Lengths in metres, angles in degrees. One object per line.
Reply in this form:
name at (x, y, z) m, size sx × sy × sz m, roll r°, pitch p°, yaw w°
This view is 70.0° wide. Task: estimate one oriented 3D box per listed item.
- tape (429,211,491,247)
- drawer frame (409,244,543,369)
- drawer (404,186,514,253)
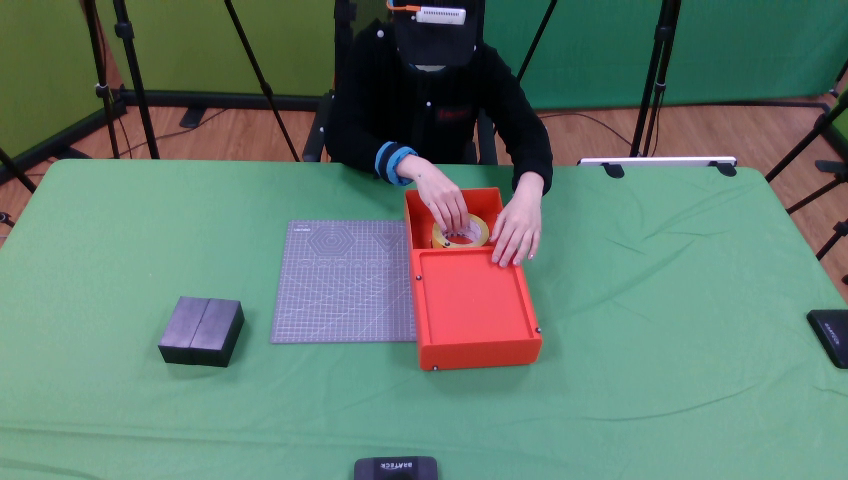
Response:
tape at (0.068, -0.002, 1.172) m, size 0.117 × 0.053 × 0.116 m, roll 2°, pitch 43°, yaw -2°
drawer frame at (0.082, 0.110, 1.052) m, size 0.202 × 0.083 × 0.212 m, roll -2°, pitch 47°, yaw -7°
drawer at (0.065, -0.011, 1.171) m, size 0.195 × 0.073 × 0.210 m, roll -1°, pitch 45°, yaw -6°
